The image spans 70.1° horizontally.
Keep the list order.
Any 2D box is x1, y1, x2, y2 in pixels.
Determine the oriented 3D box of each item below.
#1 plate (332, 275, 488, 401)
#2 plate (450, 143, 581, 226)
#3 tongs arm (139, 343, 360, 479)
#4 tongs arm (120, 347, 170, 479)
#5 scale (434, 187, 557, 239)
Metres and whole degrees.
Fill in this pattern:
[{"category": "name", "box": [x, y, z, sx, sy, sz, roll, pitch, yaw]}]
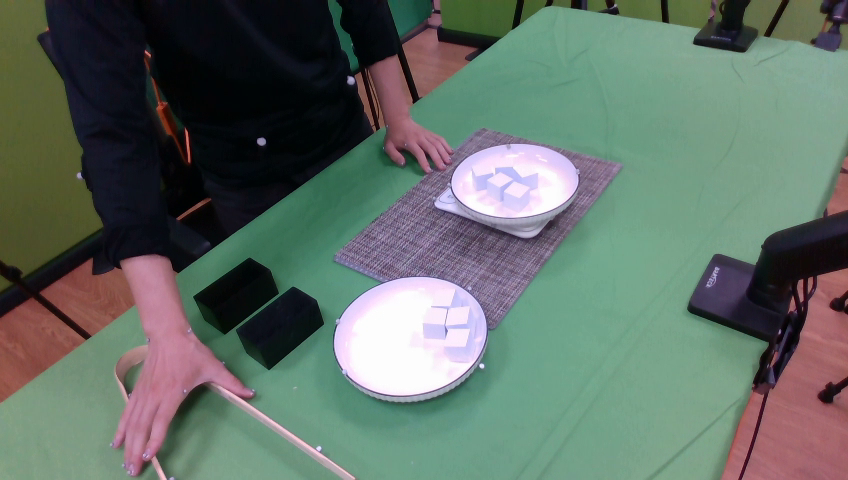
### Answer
[{"category": "plate", "box": [-0.017, 0.130, 0.808, 0.207, 0.039, 0.206, -4, 41, 4]}, {"category": "plate", "box": [0.148, -0.087, 0.986, 0.209, 0.038, 0.208, -4, 41, 4]}, {"category": "tongs arm", "box": [-0.228, 0.209, 0.753, 0.384, 0.028, 0.028, 21, 51, 29]}, {"category": "tongs arm", "box": [-0.291, 0.251, 0.707, 0.051, 0.026, 0.381, -32, 45, -26]}, {"category": "scale", "box": [0.132, -0.075, 1.025, 0.199, 0.032, 0.149, 22, 48, 30]}]
